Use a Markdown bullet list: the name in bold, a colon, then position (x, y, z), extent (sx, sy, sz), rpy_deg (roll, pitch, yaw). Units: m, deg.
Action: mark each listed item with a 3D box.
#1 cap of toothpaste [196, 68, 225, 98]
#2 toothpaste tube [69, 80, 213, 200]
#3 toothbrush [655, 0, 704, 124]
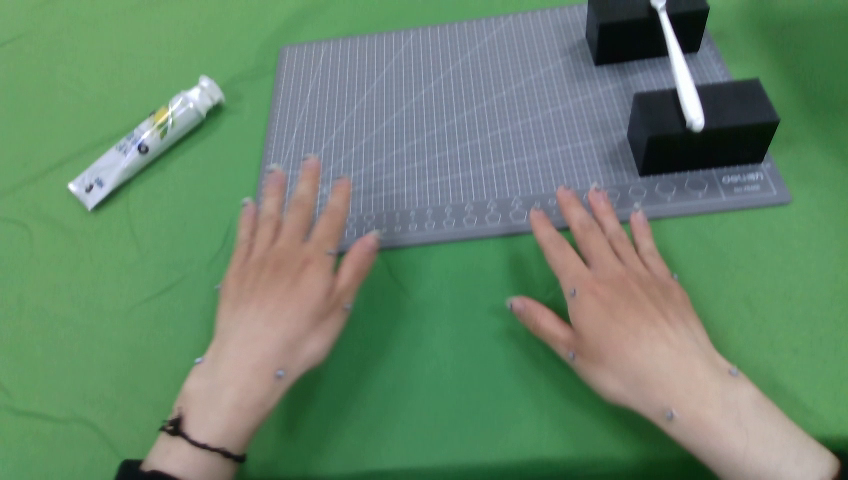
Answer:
- **cap of toothpaste**: position (-0.224, -0.162, 0.631), extent (0.037, 0.038, 0.011), rpy_deg (24, 60, 24)
- **toothpaste tube**: position (-0.280, -0.107, 0.609), extent (0.054, 0.035, 0.165), rpy_deg (32, 69, 36)
- **toothbrush**: position (0.212, -0.166, 0.510), extent (0.014, 0.017, 0.180), rpy_deg (4, 57, -2)
